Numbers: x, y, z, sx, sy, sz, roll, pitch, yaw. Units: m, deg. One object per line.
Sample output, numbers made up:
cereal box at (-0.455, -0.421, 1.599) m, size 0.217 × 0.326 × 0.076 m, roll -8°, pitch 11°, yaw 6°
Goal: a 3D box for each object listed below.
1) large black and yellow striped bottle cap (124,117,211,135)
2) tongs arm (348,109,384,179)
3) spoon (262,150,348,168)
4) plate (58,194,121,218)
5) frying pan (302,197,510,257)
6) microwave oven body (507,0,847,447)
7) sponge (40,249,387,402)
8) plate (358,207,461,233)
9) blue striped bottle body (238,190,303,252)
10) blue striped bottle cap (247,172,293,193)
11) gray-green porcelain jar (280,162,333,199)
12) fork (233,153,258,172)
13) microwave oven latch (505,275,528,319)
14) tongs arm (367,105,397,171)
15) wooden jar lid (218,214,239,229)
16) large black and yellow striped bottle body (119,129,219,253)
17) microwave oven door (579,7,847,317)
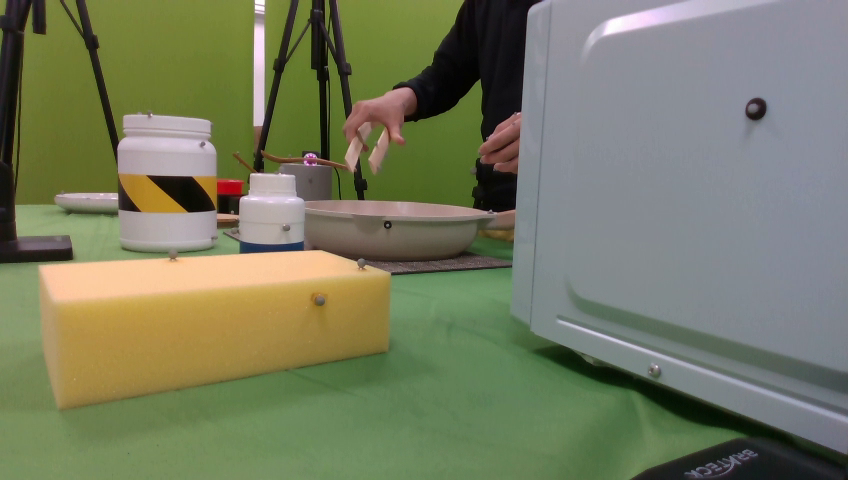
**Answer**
large black and yellow striped bottle cap at (-0.366, -0.163, 0.866) m, size 0.115 × 0.019 × 0.115 m, roll 3°, pitch 7°, yaw 0°
tongs arm at (-0.103, -0.181, 1.094) m, size 0.028 × 0.028 × 0.387 m, roll -27°, pitch 21°, yaw 12°
spoon at (-0.229, -0.162, 1.222) m, size 0.194 × 0.021 × 0.041 m, roll 3°, pitch 4°, yaw -16°
plate at (-0.671, -0.074, 1.310) m, size 0.209 × 0.038 × 0.209 m, roll 2°, pitch 8°, yaw 0°
frying pan at (0.051, -0.035, 0.915) m, size 0.487 × 0.102 × 0.307 m, roll -5°, pitch 7°, yaw 11°
microwave oven body at (0.331, -0.042, 0.425) m, size 0.444 × 0.260 × 0.324 m, roll -2°, pitch 8°, yaw -31°
sponge at (-0.142, 0.047, 0.420) m, size 0.208 × 0.061 × 0.117 m, roll -3°, pitch 8°, yaw -36°
plate at (-0.030, -0.041, 1.213) m, size 0.208 × 0.039 × 0.207 m, roll 3°, pitch 7°, yaw 0°
blue striped bottle body at (-0.153, -0.007, 0.606) m, size 0.063 × 0.120 × 0.063 m, roll 2°, pitch 8°, yaw 0°
blue striped bottle cap at (-0.152, -0.057, 0.598) m, size 0.044 × 0.020 × 0.044 m, roll 3°, pitch 7°, yaw 0°
gray-green porcelain jar at (-0.238, -0.092, 1.221) m, size 0.106 × 0.126 × 0.106 m, roll 2°, pitch 7°, yaw 0°
fork at (-0.396, -0.143, 1.486) m, size 0.028 × 0.018 × 0.208 m, roll 21°, pitch -25°, yaw 45°
microwave oven latch at (0.100, 0.041, 0.471) m, size 0.079 × 0.029 × 0.030 m, roll -1°, pitch 7°, yaw -28°
tongs arm at (-0.083, -0.189, 1.090) m, size 0.050 × 0.026 × 0.384 m, roll -21°, pitch 22°, yaw 15°
wooden jar lid at (-0.404, -0.037, 1.169) m, size 0.108 × 0.020 × 0.108 m, roll 3°, pitch 7°, yaw 0°
large black and yellow striped bottle body at (-0.367, -0.080, 0.876) m, size 0.131 × 0.184 × 0.130 m, roll 1°, pitch 7°, yaw 0°
microwave oven door at (0.294, -0.067, 0.570) m, size 0.358 × 0.243 × 0.039 m, roll -3°, pitch 9°, yaw -31°
